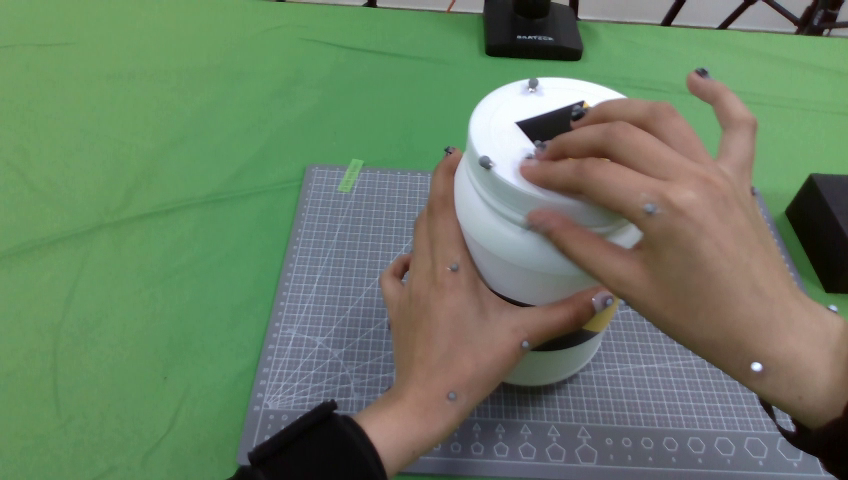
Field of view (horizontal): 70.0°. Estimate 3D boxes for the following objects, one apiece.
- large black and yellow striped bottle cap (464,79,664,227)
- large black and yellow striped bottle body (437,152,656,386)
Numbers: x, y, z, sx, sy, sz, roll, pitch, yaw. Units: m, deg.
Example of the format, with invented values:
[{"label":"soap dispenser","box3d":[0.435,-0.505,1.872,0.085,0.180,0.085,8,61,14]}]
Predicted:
[{"label":"large black and yellow striped bottle cap","box3d":[0.081,-0.055,0.356,0.115,0.019,0.114,3,50,-3]},{"label":"large black and yellow striped bottle body","box3d":[0.079,0.003,0.420,0.131,0.185,0.129,2,49,-2]}]
